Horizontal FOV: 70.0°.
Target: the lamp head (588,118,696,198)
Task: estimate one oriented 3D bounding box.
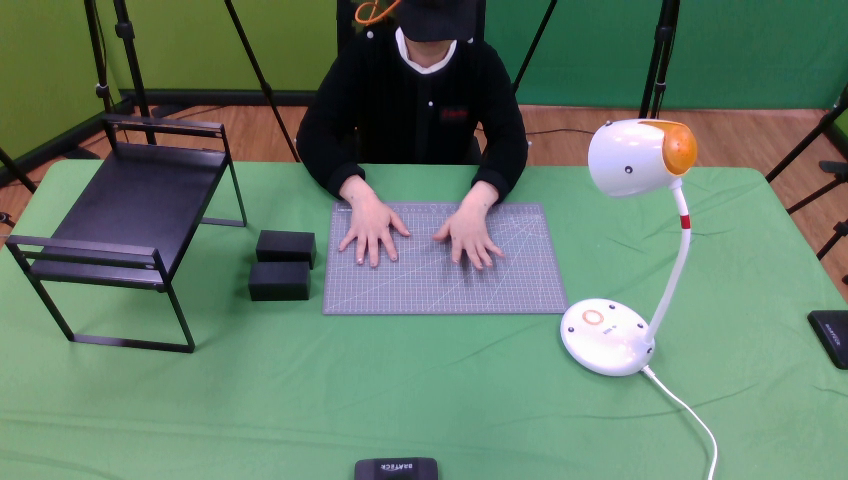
[{"bbox_3d":[0.304,-0.113,0.823,0.112,0.112,0.122,-26,16,-25],"label":"lamp head"}]

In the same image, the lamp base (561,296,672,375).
[{"bbox_3d":[0.332,0.119,0.996,0.160,0.181,0.178,-34,59,-31],"label":"lamp base"}]
